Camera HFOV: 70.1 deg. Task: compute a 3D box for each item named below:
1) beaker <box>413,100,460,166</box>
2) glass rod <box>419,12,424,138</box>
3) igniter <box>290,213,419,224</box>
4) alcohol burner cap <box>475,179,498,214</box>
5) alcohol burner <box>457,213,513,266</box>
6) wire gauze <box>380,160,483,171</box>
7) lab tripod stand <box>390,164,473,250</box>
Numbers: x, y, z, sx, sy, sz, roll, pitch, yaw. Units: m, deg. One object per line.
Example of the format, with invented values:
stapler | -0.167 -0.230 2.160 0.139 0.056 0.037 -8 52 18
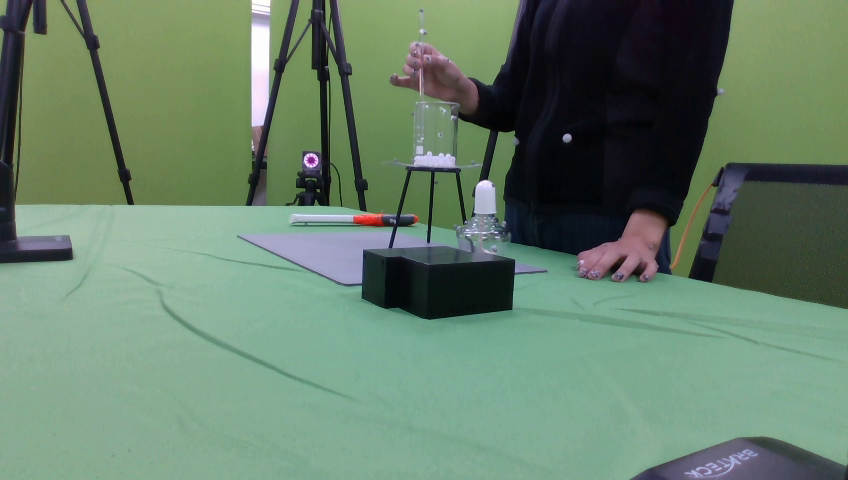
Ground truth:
beaker | 0.020 -0.167 0.953 0.073 0.100 0.084 6 9 26
glass rod | -0.004 -0.261 0.956 0.008 0.199 0.008 0 0 0
igniter | -0.143 -0.046 1.288 0.278 0.025 0.057 -1 -3 -24
alcohol burner cap | 0.086 -0.061 0.833 0.034 0.048 0.034 -1 11 0
alcohol burner | 0.084 -0.025 0.837 0.078 0.119 0.078 0 8 0
wire gauze | 0.011 -0.119 0.951 0.122 0.011 0.124 -5 12 -32
lab tripod stand | 0.011 -0.053 0.960 0.148 0.131 0.148 2 9 0
